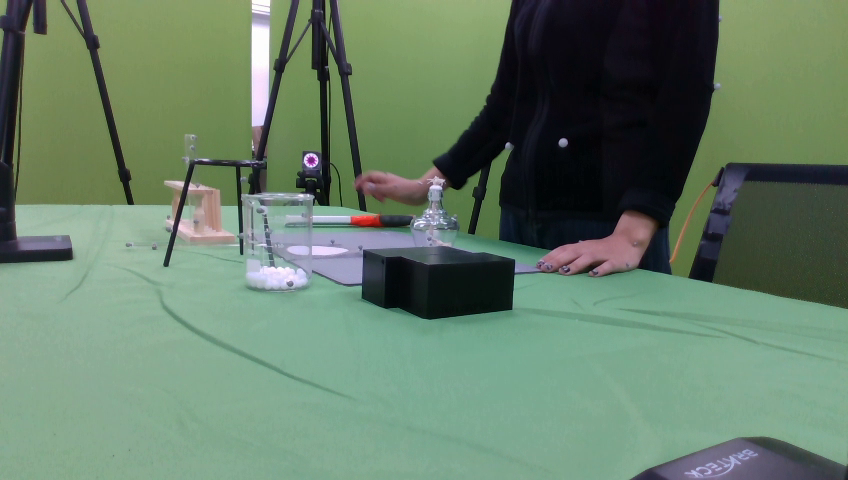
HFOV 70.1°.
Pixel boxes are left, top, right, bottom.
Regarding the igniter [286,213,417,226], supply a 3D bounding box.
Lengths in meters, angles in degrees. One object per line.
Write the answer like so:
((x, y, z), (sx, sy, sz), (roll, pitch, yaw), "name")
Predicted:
((-0.146, -0.043, 1.263), (0.278, 0.025, 0.057), (-1, -7, -25), "igniter")

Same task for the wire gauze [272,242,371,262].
((-0.155, 0.013, 0.877), (0.122, 0.011, 0.124), (-3, 10, -29), "wire gauze")

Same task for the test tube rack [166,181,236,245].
((-0.383, -0.051, 1.024), (0.067, 0.085, 0.241), (-2, 9, -31), "test tube rack")

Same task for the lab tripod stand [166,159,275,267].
((-0.249, -0.036, 0.764), (0.148, 0.131, 0.148), (2, 9, 0), "lab tripod stand")

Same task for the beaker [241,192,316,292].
((-0.157, 0.000, 0.642), (0.084, 0.100, 0.074), (4, 7, 19), "beaker")

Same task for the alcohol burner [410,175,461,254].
((0.018, -0.040, 0.931), (0.078, 0.119, 0.078), (0, 7, 0), "alcohol burner")

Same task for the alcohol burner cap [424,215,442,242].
((0.017, -0.022, 1.098), (0.034, 0.048, 0.034), (1, 9, 0), "alcohol burner cap")

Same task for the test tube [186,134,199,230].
((-0.360, -0.089, 0.946), (0.017, 0.150, 0.017), (0, 10, 0), "test tube")

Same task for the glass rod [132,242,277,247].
((-0.316, 0.007, 0.885), (0.201, 0.008, 0.008), (0, 7, -27), "glass rod")
